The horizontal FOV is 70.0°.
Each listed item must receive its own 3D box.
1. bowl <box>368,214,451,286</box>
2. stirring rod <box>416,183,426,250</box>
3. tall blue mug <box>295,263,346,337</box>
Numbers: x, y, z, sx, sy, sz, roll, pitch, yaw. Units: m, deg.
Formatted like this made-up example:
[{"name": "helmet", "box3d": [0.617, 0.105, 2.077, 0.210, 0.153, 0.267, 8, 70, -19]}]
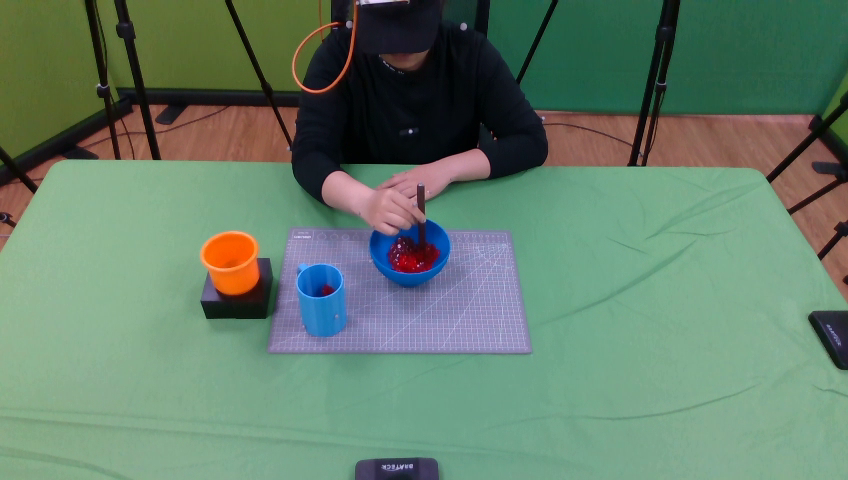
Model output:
[{"name": "bowl", "box3d": [-0.028, 0.032, 1.122, 0.151, 0.077, 0.150, 2, 46, -2]}, {"name": "stirring rod", "box3d": [-0.005, -0.039, 1.081, 0.014, 0.177, 0.006, 9, 52, 8]}, {"name": "tall blue mug", "box3d": [-0.187, 0.096, 1.027, 0.107, 0.108, 0.077, 21, 49, 16]}]
